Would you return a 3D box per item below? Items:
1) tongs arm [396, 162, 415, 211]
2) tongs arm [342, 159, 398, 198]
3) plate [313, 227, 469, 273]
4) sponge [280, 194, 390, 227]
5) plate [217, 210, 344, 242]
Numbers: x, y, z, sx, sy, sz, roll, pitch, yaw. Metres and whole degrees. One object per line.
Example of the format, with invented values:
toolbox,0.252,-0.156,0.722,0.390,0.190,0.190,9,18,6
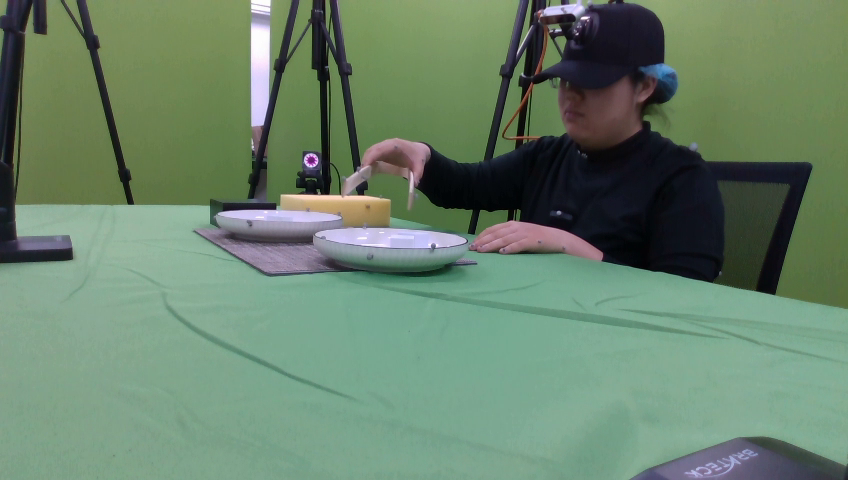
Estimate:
tongs arm,-0.029,-0.093,0.980,0.028,0.028,0.387,5,13,-4
tongs arm,-0.079,-0.103,0.978,0.051,0.026,0.384,9,12,-1
plate,-0.044,0.012,0.807,0.209,0.038,0.209,2,7,0
sponge,-0.188,-0.063,1.291,0.208,0.061,0.117,-2,9,-35
plate,-0.241,-0.024,1.026,0.208,0.039,0.207,3,7,0
